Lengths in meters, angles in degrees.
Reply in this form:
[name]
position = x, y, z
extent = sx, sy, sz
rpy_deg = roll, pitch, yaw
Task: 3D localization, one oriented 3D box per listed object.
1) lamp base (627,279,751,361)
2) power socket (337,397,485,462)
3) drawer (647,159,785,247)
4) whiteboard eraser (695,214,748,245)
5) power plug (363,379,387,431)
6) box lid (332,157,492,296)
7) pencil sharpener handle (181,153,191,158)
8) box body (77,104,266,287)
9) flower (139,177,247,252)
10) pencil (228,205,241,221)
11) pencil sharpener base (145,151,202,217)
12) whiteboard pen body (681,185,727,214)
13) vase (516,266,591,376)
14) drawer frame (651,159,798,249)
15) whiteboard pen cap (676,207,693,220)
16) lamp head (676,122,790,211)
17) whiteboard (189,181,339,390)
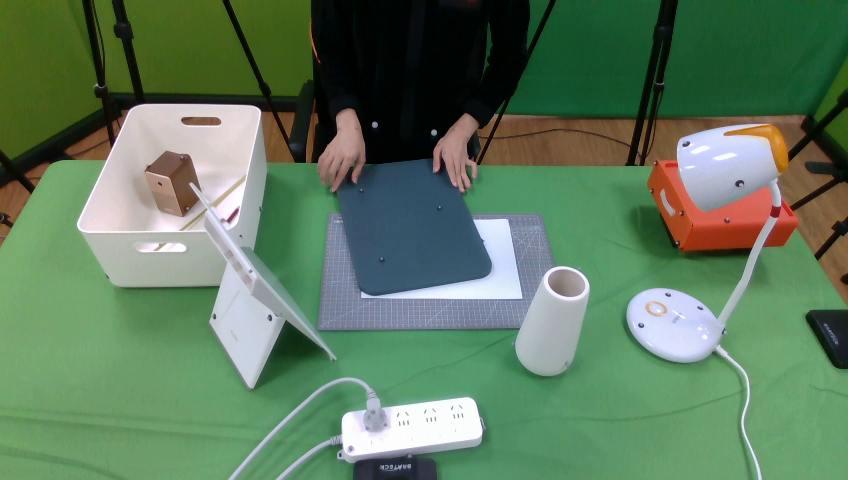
[lamp base]
position = 0.459, 0.100, 1.027
extent = 0.178, 0.181, 0.160
rpy_deg = 27, 51, 17
[power socket]
position = -0.018, 0.285, 0.915
extent = 0.227, 0.033, 0.071
rpy_deg = -5, 46, -8
[drawer]
position = 0.582, -0.079, 1.214
extent = 0.212, 0.073, 0.193
rpy_deg = -1, 45, -5
[whiteboard eraser]
position = 0.592, -0.019, 1.209
extent = 0.113, 0.042, 0.055
rpy_deg = 11, 27, -36
[power plug]
position = -0.072, 0.252, 0.910
extent = 0.035, 0.053, 0.072
rpy_deg = 3, 45, -1
[box lid]
position = -0.034, -0.041, 1.240
extent = 0.264, 0.015, 0.369
rpy_deg = -9, 47, -12
[pencil sharpener handle]
position = -0.478, -0.156, 1.225
extent = 0.036, 0.068, 0.030
rpy_deg = 23, 48, 3
[box body]
position = -0.447, -0.088, 1.150
extent = 0.254, 0.161, 0.361
rpy_deg = -1, 46, -5
[flower]
position = -0.442, -0.047, 1.192
extent = 0.044, 0.038, 0.360
rpy_deg = 42, 49, -5
[pencil]
position = -0.402, -0.009, 1.176
extent = 0.012, 0.012, 0.193
rpy_deg = 14, 44, 9
[pencil sharpener base]
position = -0.491, -0.112, 1.199
extent = 0.061, 0.107, 0.076
rpy_deg = 15, 47, 12
[whiteboard pen body]
position = 0.571, -0.081, 1.238
extent = 0.141, 0.017, 0.017
rpy_deg = -26, 54, -24
[vase]
position = 0.208, 0.132, 0.964
extent = 0.098, 0.201, 0.097
rpy_deg = 3, 46, -3
[drawer frame]
position = 0.588, -0.077, 1.219
extent = 0.214, 0.083, 0.200
rpy_deg = -2, 45, -5
[whiteboard pen cap]
position = 0.524, -0.053, 1.216
extent = 0.033, 0.018, 0.018
rpy_deg = -28, 54, -23
[lamp head]
position = 0.423, -0.104, 0.819
extent = 0.122, 0.113, 0.112
rpy_deg = -13, 33, 40
[whiteboard]
position = -0.292, 0.096, 0.929
extent = 0.144, 0.307, 0.216
rpy_deg = -37, 57, -10
